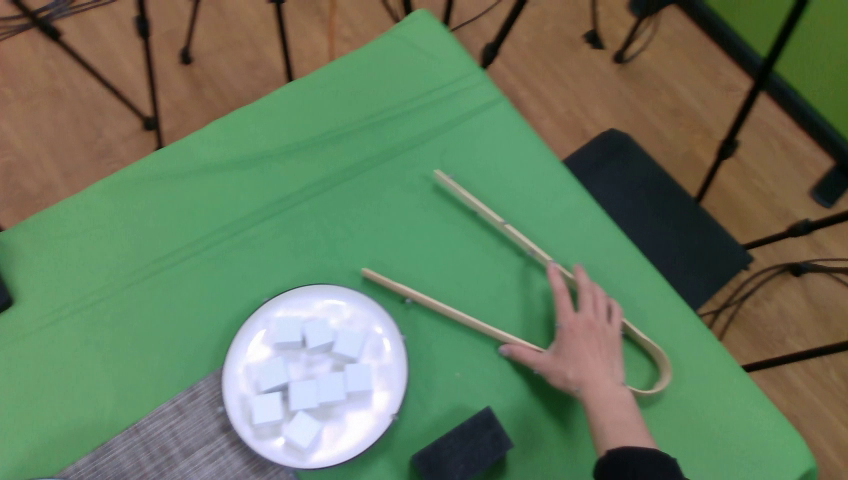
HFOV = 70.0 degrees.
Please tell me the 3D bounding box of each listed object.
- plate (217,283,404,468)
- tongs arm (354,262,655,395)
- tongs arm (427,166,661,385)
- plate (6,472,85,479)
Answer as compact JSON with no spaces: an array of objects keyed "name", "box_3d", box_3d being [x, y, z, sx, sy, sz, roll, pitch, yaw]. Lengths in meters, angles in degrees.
[{"name":"plate","box_3d":[-0.127,0.153,0.695,0.208,0.039,0.206,2,67,-4]},{"name":"tongs arm","box_3d":[0.091,0.107,0.735,0.387,0.028,0.028,24,64,4]},{"name":"tongs arm","box_3d":[0.140,0.040,0.764,0.383,0.026,0.050,38,69,9]},{"name":"plate","box_3d":[-0.370,0.327,0.566,0.209,0.038,0.207,2,67,-4]}]
